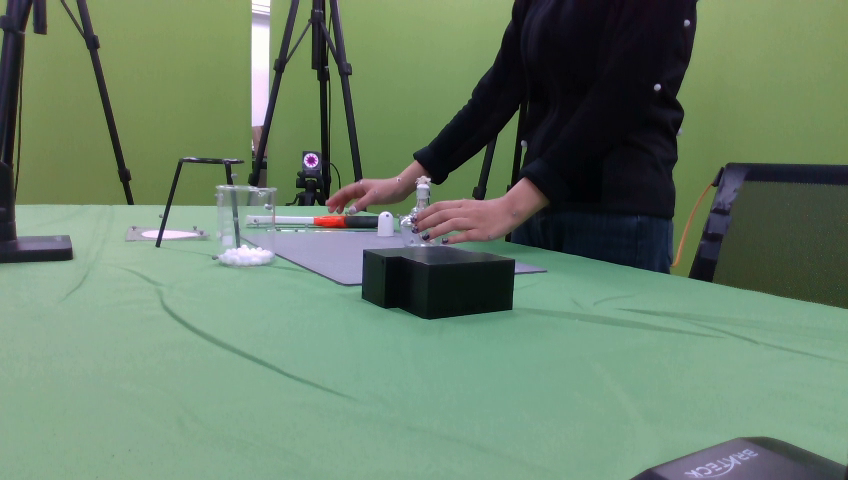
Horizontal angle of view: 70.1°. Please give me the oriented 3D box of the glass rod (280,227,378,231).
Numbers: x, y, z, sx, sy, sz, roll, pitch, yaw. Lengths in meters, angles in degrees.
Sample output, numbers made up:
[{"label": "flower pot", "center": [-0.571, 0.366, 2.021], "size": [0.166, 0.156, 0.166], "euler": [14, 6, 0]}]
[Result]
[{"label": "glass rod", "center": [-0.175, -0.021, 1.161], "size": [0.200, 0.008, 0.008], "euler": [1, 7, -15]}]

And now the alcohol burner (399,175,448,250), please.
[{"label": "alcohol burner", "center": [-0.001, -0.044, 0.962], "size": [0.078, 0.119, 0.078], "euler": [0, 8, 0]}]

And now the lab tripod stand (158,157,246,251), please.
[{"label": "lab tripod stand", "center": [-0.314, -0.055, 0.891], "size": [0.148, 0.131, 0.148], "euler": [2, 9, 0]}]

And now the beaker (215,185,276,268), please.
[{"label": "beaker", "center": [-0.226, -0.019, 0.773], "size": [0.074, 0.100, 0.084], "euler": [5, 7, 14]}]

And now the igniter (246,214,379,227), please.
[{"label": "igniter", "center": [-0.213, -0.040, 1.216], "size": [0.278, 0.025, 0.057], "euler": [0, -3, -22]}]

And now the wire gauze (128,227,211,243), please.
[{"label": "wire gauze", "center": [-0.420, -0.010, 0.999], "size": [0.122, 0.011, 0.124], "euler": [-2, 10, -24]}]

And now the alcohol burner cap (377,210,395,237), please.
[{"label": "alcohol burner cap", "center": [-0.069, -0.031, 1.112], "size": [0.034, 0.048, 0.034], "euler": [2, 8, 0]}]
